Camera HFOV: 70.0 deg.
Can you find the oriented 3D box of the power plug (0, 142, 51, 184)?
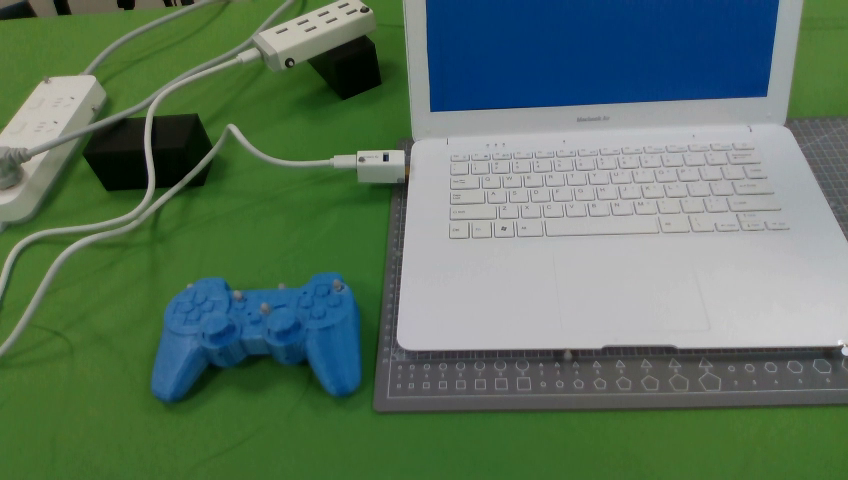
[{"bbox_3d":[-0.384,-0.065,0.574,0.072,0.053,0.035,10,51,11],"label":"power plug"}]

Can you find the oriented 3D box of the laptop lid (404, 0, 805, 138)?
[{"bbox_3d":[0.157,-0.209,0.542,0.356,0.243,0.013,-3,21,5],"label":"laptop lid"}]

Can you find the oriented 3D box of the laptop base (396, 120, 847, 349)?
[{"bbox_3d":[0.159,-0.011,0.510,0.354,0.023,0.233,-1,53,5],"label":"laptop base"}]

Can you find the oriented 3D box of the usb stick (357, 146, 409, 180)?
[{"bbox_3d":[-0.032,-0.071,0.562,0.059,0.027,0.021,1,48,-4],"label":"usb stick"}]

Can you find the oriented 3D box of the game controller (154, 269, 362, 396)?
[{"bbox_3d":[-0.123,0.065,0.459,0.155,0.052,0.096,-2,46,4],"label":"game controller"}]

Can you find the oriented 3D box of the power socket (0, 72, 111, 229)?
[{"bbox_3d":[-0.407,-0.106,0.643,0.072,0.033,0.224,1,50,6],"label":"power socket"}]

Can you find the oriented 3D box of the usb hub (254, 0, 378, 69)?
[{"bbox_3d":[-0.115,-0.226,0.652,0.125,0.025,0.049,-30,55,-17],"label":"usb hub"}]
